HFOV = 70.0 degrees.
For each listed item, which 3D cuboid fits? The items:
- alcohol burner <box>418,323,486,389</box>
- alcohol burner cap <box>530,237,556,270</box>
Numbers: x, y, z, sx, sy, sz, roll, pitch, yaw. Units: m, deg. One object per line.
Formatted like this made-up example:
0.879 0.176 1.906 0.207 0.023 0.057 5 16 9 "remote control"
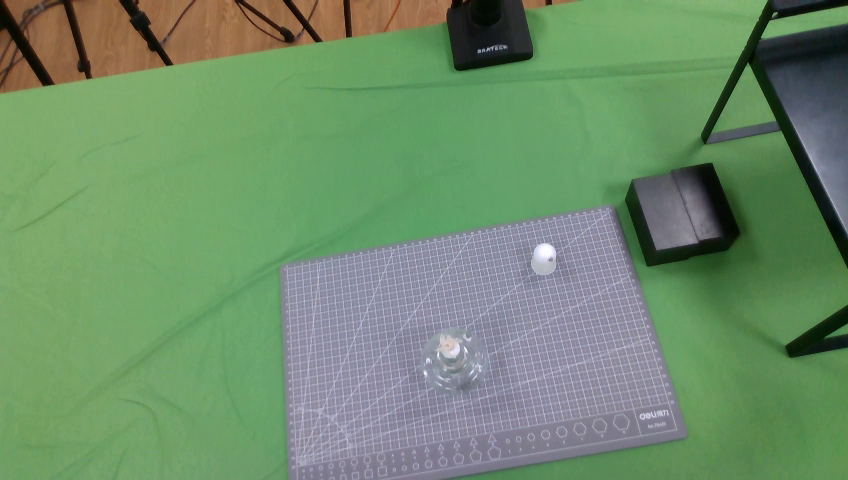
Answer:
0.030 0.125 0.676 0.078 0.120 0.077 -3 67 7 "alcohol burner"
0.149 0.014 0.752 0.034 0.048 0.033 -3 66 7 "alcohol burner cap"
